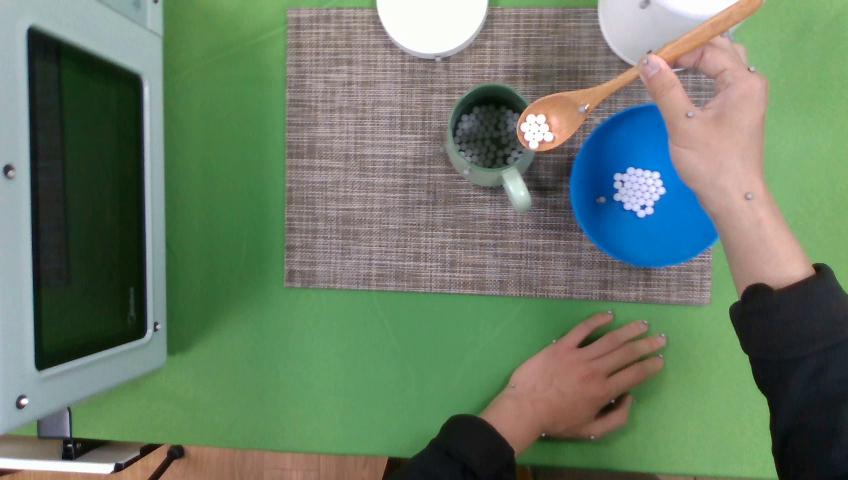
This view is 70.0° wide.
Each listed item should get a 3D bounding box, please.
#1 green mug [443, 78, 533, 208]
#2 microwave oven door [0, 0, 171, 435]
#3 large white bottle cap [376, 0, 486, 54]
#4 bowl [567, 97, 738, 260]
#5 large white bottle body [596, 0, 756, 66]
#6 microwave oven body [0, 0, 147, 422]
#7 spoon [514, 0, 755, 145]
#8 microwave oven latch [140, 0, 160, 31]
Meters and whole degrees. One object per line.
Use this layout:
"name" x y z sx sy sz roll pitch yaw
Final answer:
"green mug" 0.070 -0.090 0.586 0.092 0.105 0.125 -25 90 5
"microwave oven door" -0.306 -0.038 0.539 0.039 0.244 0.356 0 92 6
"large white bottle cap" 0.007 -0.252 0.628 0.115 0.018 0.115 0 91 5
"bowl" 0.211 -0.056 0.589 0.151 0.077 0.151 0 92 6
"large white bottle body" 0.230 -0.242 0.525 0.130 0.185 0.130 0 88 5
"microwave oven body" -0.451 -0.081 0.555 0.326 0.260 0.442 0 93 4
"spoon" 0.149 -0.126 0.450 0.193 0.021 0.042 -26 98 38
"microwave oven latch" -0.294 -0.260 0.630 0.030 0.029 0.079 0 93 5
